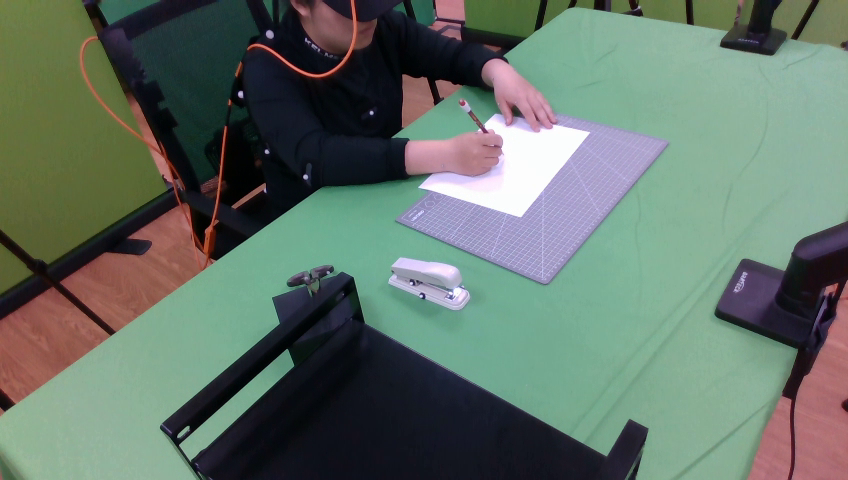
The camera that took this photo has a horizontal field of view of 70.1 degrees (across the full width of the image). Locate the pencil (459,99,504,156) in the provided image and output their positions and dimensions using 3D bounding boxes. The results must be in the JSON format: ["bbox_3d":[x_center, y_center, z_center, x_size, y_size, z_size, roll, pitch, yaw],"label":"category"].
[{"bbox_3d":[0.106,-0.194,1.066,0.012,0.196,0.012,-12,64,26],"label":"pencil"}]

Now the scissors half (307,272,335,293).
[{"bbox_3d":[-0.151,0.062,0.872,0.040,0.013,0.175,-2,5,-4],"label":"scissors half"}]

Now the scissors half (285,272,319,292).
[{"bbox_3d":[-0.171,0.063,0.868,0.040,0.013,0.174,-9,6,-21],"label":"scissors half"}]

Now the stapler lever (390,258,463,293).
[{"bbox_3d":[0.003,0.046,0.881,0.117,0.040,0.027,17,43,29],"label":"stapler lever"}]

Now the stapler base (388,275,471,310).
[{"bbox_3d":[0.007,0.066,0.897,0.129,0.024,0.041,17,43,29],"label":"stapler base"}]
